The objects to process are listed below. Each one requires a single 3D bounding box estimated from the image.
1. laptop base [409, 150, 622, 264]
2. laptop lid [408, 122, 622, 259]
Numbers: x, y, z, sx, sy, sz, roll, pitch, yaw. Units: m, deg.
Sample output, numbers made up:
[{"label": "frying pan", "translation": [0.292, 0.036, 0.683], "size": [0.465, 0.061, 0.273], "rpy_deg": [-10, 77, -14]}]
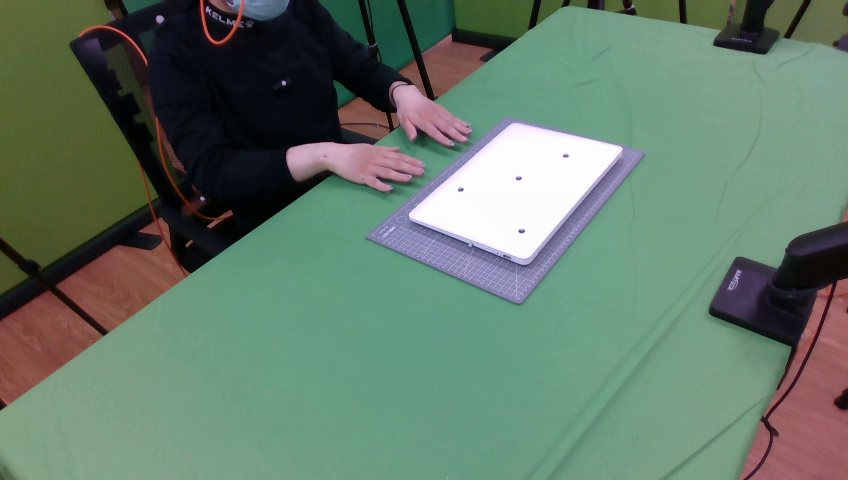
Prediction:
[{"label": "laptop base", "translation": [0.168, -0.095, 1.057], "size": [0.233, 0.023, 0.355], "rpy_deg": [20, 47, 33]}, {"label": "laptop lid", "translation": [0.165, -0.105, 1.050], "size": [0.240, 0.013, 0.358], "rpy_deg": [22, 48, 33]}]
